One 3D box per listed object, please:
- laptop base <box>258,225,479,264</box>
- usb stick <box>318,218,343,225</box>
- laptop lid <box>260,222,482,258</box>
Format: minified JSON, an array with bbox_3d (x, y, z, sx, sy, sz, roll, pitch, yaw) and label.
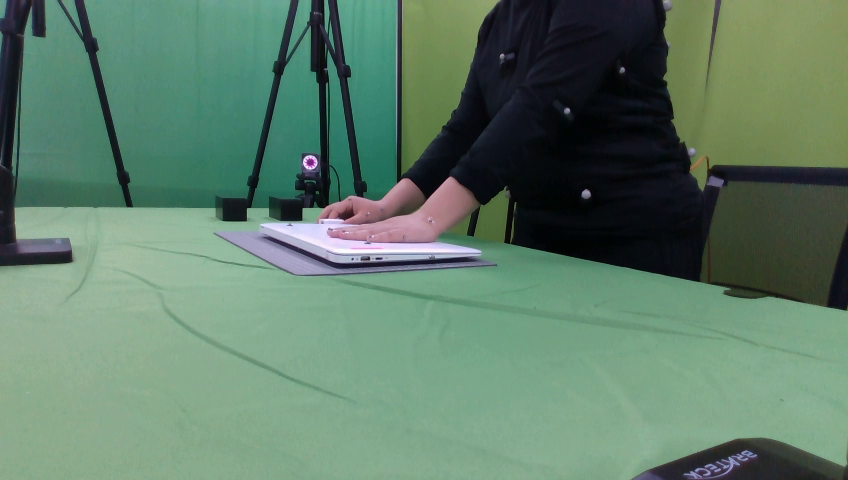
[{"bbox_3d":[-0.103,0.007,0.962,0.237,0.023,0.352,3,6,-32],"label":"laptop base"},{"bbox_3d":[-0.185,-0.026,1.150,0.059,0.027,0.021,-9,14,-40],"label":"usb stick"},{"bbox_3d":[-0.100,-0.003,0.962,0.243,0.013,0.355,2,7,-30],"label":"laptop lid"}]
